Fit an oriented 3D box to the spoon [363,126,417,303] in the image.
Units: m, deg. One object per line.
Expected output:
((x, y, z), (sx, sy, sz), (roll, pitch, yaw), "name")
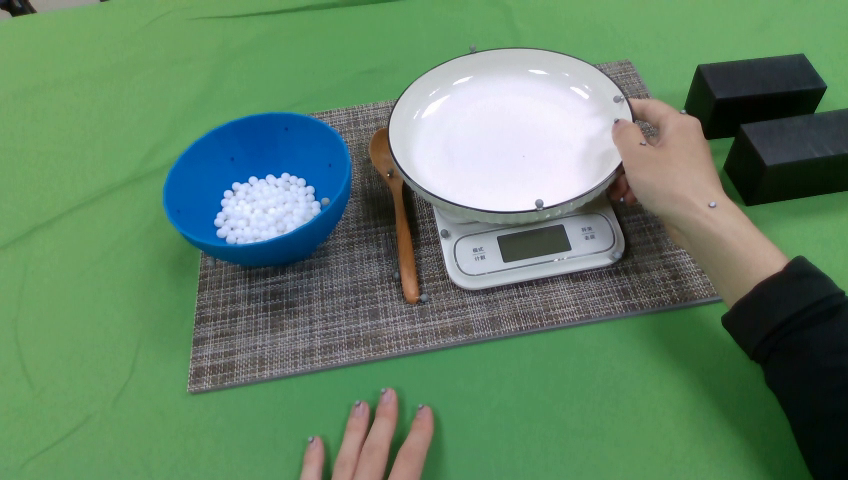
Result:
((-0.027, -0.029, 0.536), (0.042, 0.022, 0.191), (-1, 52, -13), "spoon")

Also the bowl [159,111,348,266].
((-0.133, -0.031, 0.513), (0.151, 0.077, 0.150), (-2, 52, 4), "bowl")

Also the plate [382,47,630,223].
((0.069, -0.091, 0.524), (0.209, 0.038, 0.207), (-3, 52, 4), "plate")

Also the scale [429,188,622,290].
((0.076, -0.054, 0.539), (0.149, 0.032, 0.198), (-11, 53, -2), "scale")
